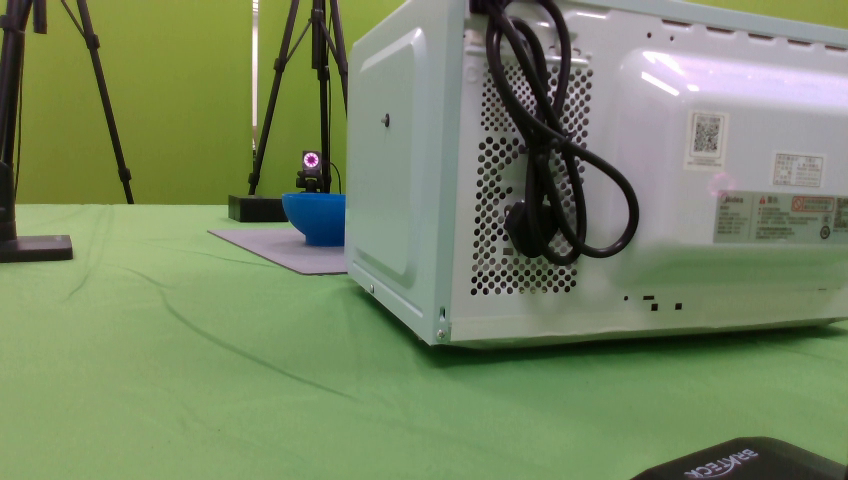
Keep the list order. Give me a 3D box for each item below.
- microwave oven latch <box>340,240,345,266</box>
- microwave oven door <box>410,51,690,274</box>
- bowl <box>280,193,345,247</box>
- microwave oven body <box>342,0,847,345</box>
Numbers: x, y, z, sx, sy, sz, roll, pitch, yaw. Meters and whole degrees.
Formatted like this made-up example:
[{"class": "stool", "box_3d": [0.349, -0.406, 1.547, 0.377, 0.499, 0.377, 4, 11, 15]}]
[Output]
[{"class": "microwave oven latch", "box_3d": [-0.052, 0.016, 0.662, 0.079, 0.029, 0.030, 1, 7, -19]}, {"class": "microwave oven door", "box_3d": [0.161, -0.084, 0.723, 0.357, 0.243, 0.039, 0, 8, -20]}, {"class": "bowl", "box_3d": [-0.153, -0.032, 0.970, 0.151, 0.077, 0.151, 3, 7, 0]}, {"class": "microwave oven body", "box_3d": [0.169, -0.060, 0.573, 0.444, 0.260, 0.324, 1, 7, -20]}]
